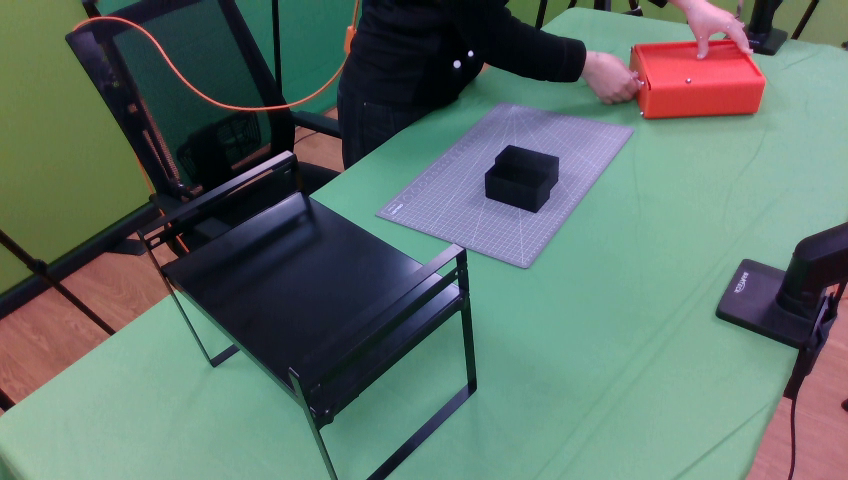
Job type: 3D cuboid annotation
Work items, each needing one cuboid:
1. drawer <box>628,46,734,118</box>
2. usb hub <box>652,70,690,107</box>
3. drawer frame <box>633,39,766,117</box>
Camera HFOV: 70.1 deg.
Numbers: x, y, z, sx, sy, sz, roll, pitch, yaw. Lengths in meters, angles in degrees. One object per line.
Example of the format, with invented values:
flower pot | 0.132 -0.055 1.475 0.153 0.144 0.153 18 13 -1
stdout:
drawer | 0.538 -0.329 1.236 0.211 0.073 0.193 0 40 6
usb hub | 0.507 -0.311 1.242 0.049 0.025 0.124 -1 39 7
drawer frame | 0.544 -0.332 1.233 0.213 0.083 0.201 -1 41 6
